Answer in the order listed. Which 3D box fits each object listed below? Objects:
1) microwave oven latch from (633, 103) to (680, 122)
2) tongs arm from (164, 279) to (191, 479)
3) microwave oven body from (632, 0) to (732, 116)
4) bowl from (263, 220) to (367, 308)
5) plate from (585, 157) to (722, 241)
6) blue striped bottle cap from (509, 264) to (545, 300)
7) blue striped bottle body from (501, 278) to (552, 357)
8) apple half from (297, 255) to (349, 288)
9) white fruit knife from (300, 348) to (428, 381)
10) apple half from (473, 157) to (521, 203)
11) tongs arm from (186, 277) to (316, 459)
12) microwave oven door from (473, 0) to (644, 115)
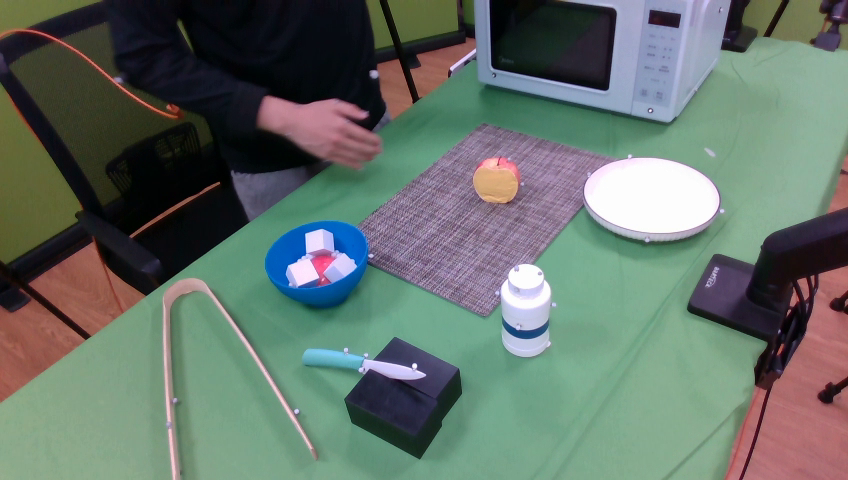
[{"bbox_3d":[0.444,-0.249,1.157,0.078,0.029,0.030,20,48,29],"label":"microwave oven latch"},{"bbox_3d":[-0.313,0.182,0.789,0.051,0.026,0.381,-19,41,-14],"label":"tongs arm"},{"bbox_3d":[0.377,-0.463,1.267,0.438,0.261,0.327,21,48,30],"label":"microwave oven body"},{"bbox_3d":[-0.152,0.047,0.892,0.151,0.077,0.150,-4,40,4],"label":"bowl"},{"bbox_3d":[0.367,-0.063,0.979,0.207,0.039,0.206,-4,40,4],"label":"plate"},{"bbox_3d":[0.125,0.050,0.735,0.044,0.021,0.044,-5,39,5],"label":"blue striped bottle cap"},{"bbox_3d":[0.130,0.088,0.769,0.063,0.121,0.063,-4,41,4],"label":"blue striped bottle body"},{"bbox_3d":[-0.154,0.044,0.889,0.081,0.033,0.081,-2,40,2],"label":"apple half"},{"bbox_3d":[-0.079,0.154,0.748,0.206,0.027,0.016,1,21,34],"label":"white fruit knife"},{"bbox_3d":[0.127,-0.106,1.030,0.080,0.075,0.053,4,36,19],"label":"apple half"},{"bbox_3d":[-0.241,0.154,0.816,0.028,0.028,0.384,-31,46,-21],"label":"tongs arm"},{"bbox_3d":[0.257,-0.396,1.199,0.353,0.245,0.039,21,48,29],"label":"microwave oven door"}]
